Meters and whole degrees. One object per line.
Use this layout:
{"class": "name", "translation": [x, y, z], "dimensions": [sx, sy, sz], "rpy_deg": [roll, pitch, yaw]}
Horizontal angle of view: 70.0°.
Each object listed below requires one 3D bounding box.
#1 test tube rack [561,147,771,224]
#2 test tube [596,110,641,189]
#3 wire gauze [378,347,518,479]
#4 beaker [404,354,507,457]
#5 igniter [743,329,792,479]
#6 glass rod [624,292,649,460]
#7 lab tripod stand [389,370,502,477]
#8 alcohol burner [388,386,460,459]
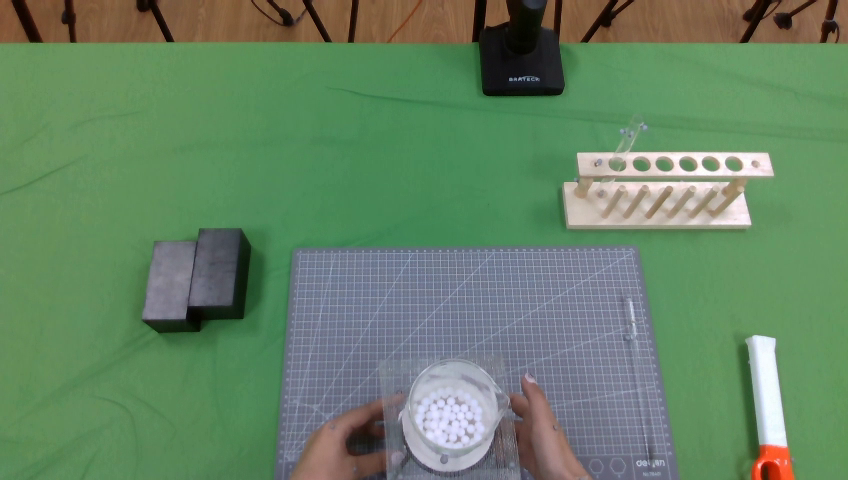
{"class": "test tube rack", "translation": [0.310, -0.069, 0.785], "dimensions": [0.242, 0.086, 0.066], "rpy_deg": [0, 66, -2]}
{"class": "test tube", "translation": [0.237, -0.107, 0.746], "dimensions": [0.017, 0.151, 0.017], "rpy_deg": [0, 63, 0]}
{"class": "wire gauze", "translation": [0.020, 0.164, 0.572], "dimensions": [0.125, 0.011, 0.120], "rpy_deg": [-4, 64, -1]}
{"class": "beaker", "translation": [0.025, 0.147, 0.527], "dimensions": [0.084, 0.101, 0.073], "rpy_deg": [-5, 65, -4]}
{"class": "igniter", "translation": [0.391, 0.236, 0.684], "dimensions": [0.057, 0.025, 0.274], "rpy_deg": [10, 66, -8]}
{"class": "glass rod", "translation": [0.253, 0.157, 0.722], "dimensions": [0.008, 0.008, 0.198], "rpy_deg": [1, 69, -1]}
{"class": "lab tripod stand", "translation": [0.020, 0.194, 0.631], "dimensions": [0.148, 0.132, 0.147], "rpy_deg": [0, 65, 1]}
{"class": "alcohol burner", "translation": [0.001, 0.191, 0.643], "dimensions": [0.078, 0.120, 0.077], "rpy_deg": [1, 66, -3]}
